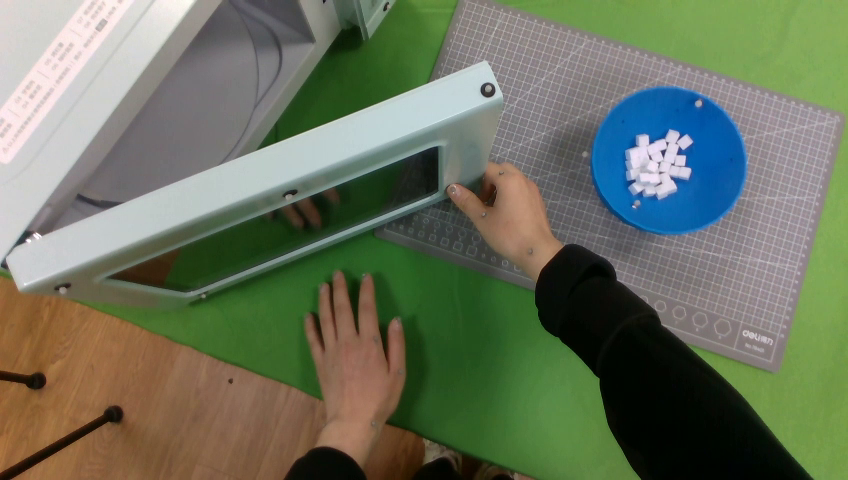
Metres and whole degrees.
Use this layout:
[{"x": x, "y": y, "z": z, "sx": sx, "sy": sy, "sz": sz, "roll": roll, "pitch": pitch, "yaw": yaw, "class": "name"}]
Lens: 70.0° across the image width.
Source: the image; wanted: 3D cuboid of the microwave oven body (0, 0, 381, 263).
[{"x": -0.274, "y": -0.220, "z": 0.560, "sx": 0.325, "sy": 0.261, "sz": 0.441, "roll": 33, "pitch": 84, "yaw": 5, "class": "microwave oven body"}]

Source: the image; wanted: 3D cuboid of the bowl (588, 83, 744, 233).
[{"x": 0.237, "y": -0.075, "z": 0.626, "sx": 0.151, "sy": 0.077, "sz": 0.151, "roll": 0, "pitch": 82, "yaw": 1, "class": "bowl"}]

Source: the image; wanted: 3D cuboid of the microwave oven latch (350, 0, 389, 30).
[{"x": -0.051, "y": -0.272, "z": 0.662, "sx": 0.030, "sy": 0.029, "sz": 0.079, "roll": 35, "pitch": 85, "yaw": 5, "class": "microwave oven latch"}]

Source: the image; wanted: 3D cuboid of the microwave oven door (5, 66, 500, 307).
[{"x": -0.112, "y": -0.029, "z": 0.526, "sx": 0.356, "sy": 0.244, "sz": 0.039, "roll": -22, "pitch": 81, "yaw": -2, "class": "microwave oven door"}]
